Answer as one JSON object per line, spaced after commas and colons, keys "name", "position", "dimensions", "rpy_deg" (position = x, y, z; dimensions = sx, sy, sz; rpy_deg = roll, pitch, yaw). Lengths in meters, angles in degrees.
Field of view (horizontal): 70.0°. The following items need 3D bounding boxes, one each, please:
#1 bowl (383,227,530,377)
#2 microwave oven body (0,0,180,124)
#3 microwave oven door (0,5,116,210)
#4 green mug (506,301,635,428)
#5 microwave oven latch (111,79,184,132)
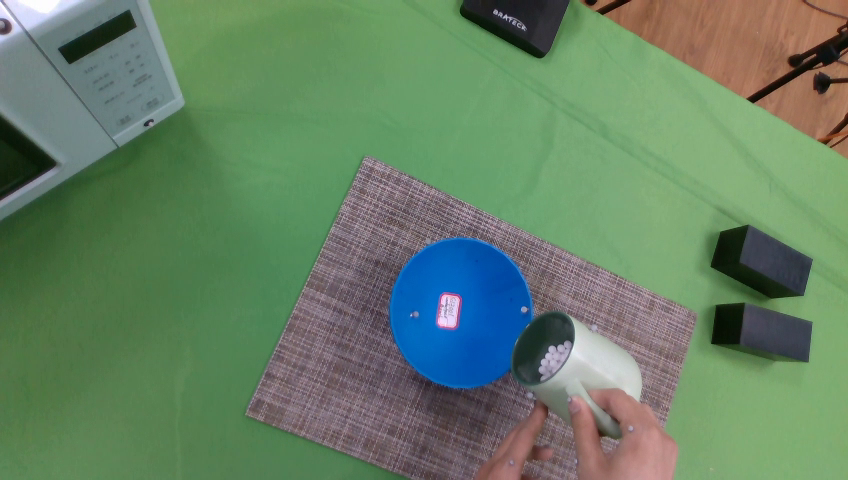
{"name": "bowl", "position": [0.026, 0.066, 0.636], "dimensions": [0.152, 0.077, 0.151], "rpy_deg": [2, 82, -14]}
{"name": "microwave oven body", "position": [-0.475, -0.164, 0.441], "dimensions": [0.441, 0.260, 0.326], "rpy_deg": [-38, 93, -15]}
{"name": "microwave oven door", "position": [-0.417, -0.024, 0.432], "dimensions": [0.355, 0.243, 0.039], "rpy_deg": [-38, 92, -16]}
{"name": "green mug", "position": [0.146, 0.126, 0.576], "dimensions": [0.106, 0.124, 0.092], "rpy_deg": [38, 103, -27]}
{"name": "microwave oven latch", "position": [-0.274, -0.139, 0.590], "dimensions": [0.079, 0.029, 0.030], "rpy_deg": [-37, 93, -15]}
